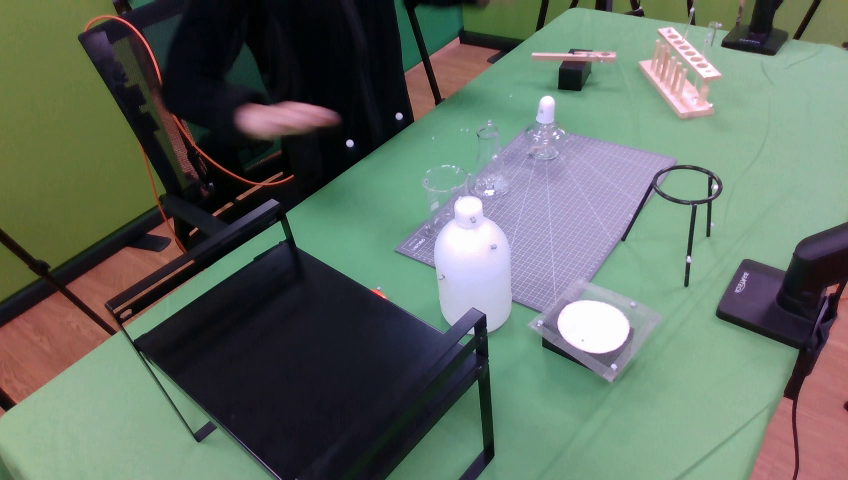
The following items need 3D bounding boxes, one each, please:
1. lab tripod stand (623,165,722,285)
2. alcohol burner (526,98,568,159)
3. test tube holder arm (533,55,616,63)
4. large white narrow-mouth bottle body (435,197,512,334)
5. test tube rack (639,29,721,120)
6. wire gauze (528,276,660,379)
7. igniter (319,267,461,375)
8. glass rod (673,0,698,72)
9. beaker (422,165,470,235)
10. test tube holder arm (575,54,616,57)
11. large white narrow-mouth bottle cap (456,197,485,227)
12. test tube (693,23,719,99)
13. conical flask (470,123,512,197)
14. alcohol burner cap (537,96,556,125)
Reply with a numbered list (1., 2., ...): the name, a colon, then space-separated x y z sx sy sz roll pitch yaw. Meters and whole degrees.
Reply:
1. lab tripod stand: 0.365 -0.030 0.875 0.148 0.132 0.147 -6 41 6
2. alcohol burner: 0.228 -0.210 1.118 0.078 0.119 0.077 -5 43 5
3. test tube holder arm: 0.329 -0.398 1.327 0.178 0.015 0.013 5 51 15
4. large white narrow-mouth bottle body: 0.066 0.028 0.805 0.102 0.195 0.101 -4 40 4
5. test tube rack: 0.527 -0.351 1.262 0.067 0.085 0.241 -8 40 1
6. wire gauze: 0.213 0.103 0.763 0.124 0.011 0.122 30 52 35
7. igniter: -0.060 0.108 0.862 0.274 0.025 0.057 28 62 35
8. glass rod: 0.536 -0.424 1.244 0.008 0.200 0.008 0 48 0
9. beaker: 0.041 -0.063 0.986 0.073 0.101 0.084 20 47 29
10. test tube holder arm: 0.373 -0.398 1.318 0.087 0.015 0.010 5 51 15
11. large white narrow-mouth bottle cap: 0.057 -0.035 0.750 0.038 0.024 0.037 -4 40 4
12. test tube: 0.546 -0.345 1.175 0.017 0.151 0.017 -2 39 2
13. conical flask: 0.115 -0.139 1.046 0.075 0.122 0.075 -4 41 4
14. alcohol burner cap: 0.223 -0.237 1.095 0.034 0.048 0.033 0 43 1
